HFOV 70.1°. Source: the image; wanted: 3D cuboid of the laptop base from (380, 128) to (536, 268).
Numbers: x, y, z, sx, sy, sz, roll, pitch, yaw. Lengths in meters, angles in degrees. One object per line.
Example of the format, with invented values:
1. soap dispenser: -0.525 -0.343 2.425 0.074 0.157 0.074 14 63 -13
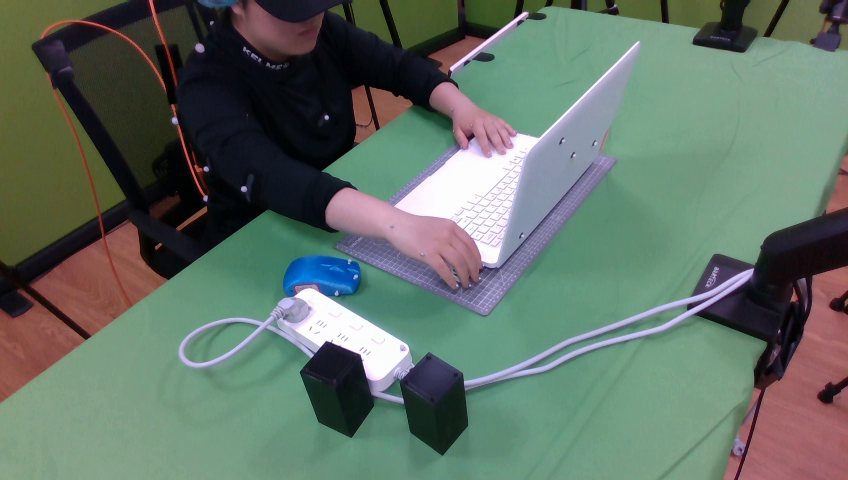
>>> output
1. laptop base: 0.118 -0.088 1.059 0.233 0.023 0.355 19 46 33

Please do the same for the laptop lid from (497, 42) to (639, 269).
1. laptop lid: 0.221 -0.130 0.913 0.013 0.242 0.357 31 51 21

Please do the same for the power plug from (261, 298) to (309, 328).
1. power plug: -0.192 0.107 0.830 0.073 0.053 0.035 -32 43 -26

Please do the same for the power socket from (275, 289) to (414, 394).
1. power socket: -0.115 0.133 0.820 0.225 0.033 0.072 25 49 32

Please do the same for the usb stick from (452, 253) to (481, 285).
1. usb stick: 0.067 0.039 0.899 0.021 0.027 0.059 23 47 34

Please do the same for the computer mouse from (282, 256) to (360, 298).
1. computer mouse: -0.157 0.055 0.916 0.117 0.041 0.062 -1 39 2
